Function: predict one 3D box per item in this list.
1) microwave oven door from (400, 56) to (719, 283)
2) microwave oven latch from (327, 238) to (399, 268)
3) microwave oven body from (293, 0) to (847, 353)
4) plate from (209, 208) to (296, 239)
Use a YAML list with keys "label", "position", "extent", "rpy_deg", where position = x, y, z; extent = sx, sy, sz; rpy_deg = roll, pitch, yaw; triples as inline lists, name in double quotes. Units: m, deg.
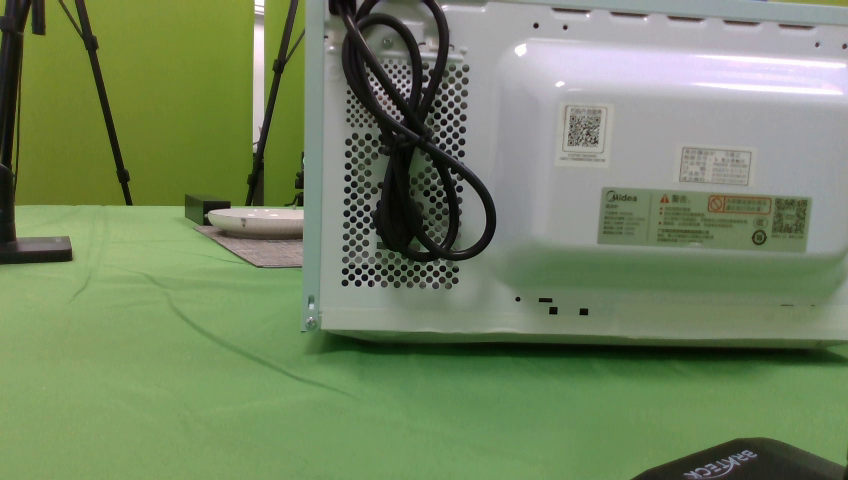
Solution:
- label: "microwave oven door"
  position: [0.155, -0.077, 0.697]
  extent: [0.356, 0.243, 0.039]
  rpy_deg: [2, 8, -5]
- label: "microwave oven latch"
  position: [-0.069, 0.015, 0.694]
  extent: [0.079, 0.029, 0.030]
  rpy_deg: [3, 7, -3]
- label: "microwave oven body"
  position: [0.122, -0.055, 0.550]
  extent: [0.442, 0.260, 0.325]
  rpy_deg: [3, 7, -5]
- label: "plate"
  position: [-0.271, -0.029, 1.073]
  extent: [0.208, 0.039, 0.207]
  rpy_deg: [3, 7, 0]
